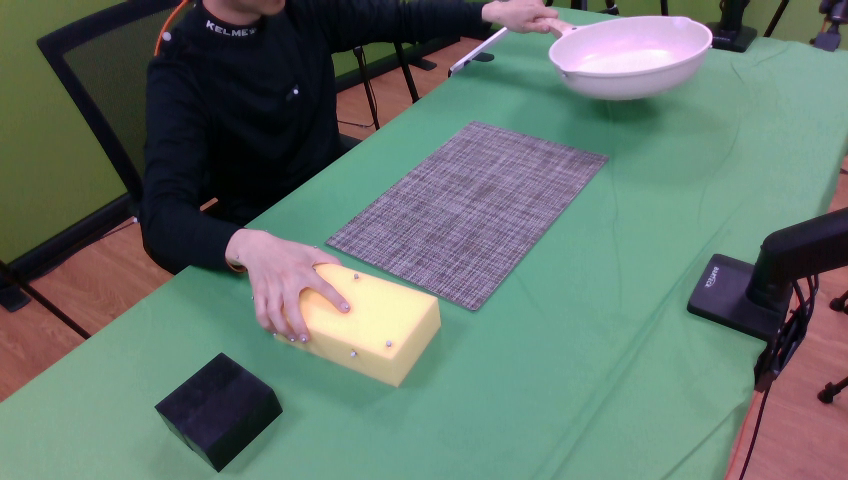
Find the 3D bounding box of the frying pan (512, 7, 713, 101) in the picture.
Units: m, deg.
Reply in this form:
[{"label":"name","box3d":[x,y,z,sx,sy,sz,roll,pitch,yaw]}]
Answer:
[{"label":"frying pan","box3d":[0.339,-0.403,1.228,0.308,0.103,0.483,-26,45,-19]}]

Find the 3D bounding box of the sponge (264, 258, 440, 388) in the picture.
[{"label":"sponge","box3d":[-0.097,0.107,0.830,0.205,0.061,0.118,16,46,24]}]
